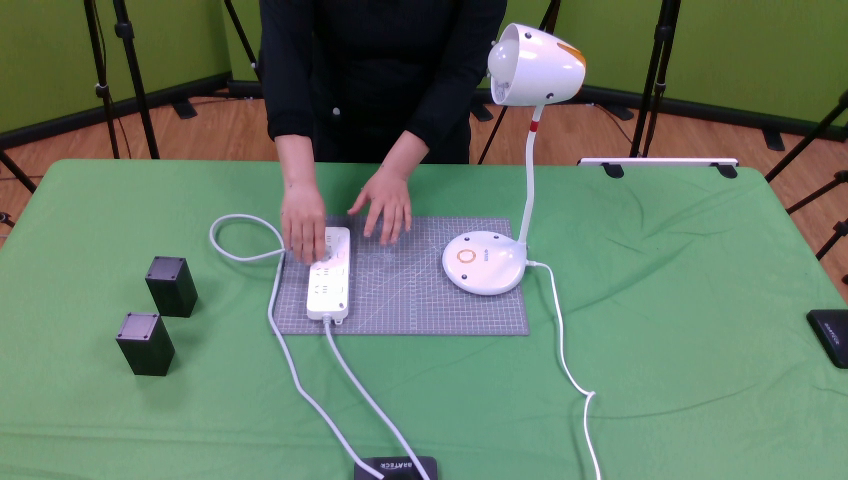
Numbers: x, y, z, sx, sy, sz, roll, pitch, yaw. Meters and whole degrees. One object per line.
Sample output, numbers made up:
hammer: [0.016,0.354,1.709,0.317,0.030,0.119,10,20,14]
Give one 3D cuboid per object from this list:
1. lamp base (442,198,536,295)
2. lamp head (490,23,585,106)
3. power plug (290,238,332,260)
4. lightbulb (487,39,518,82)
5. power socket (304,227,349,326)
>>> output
lamp base: [0.130,-0.012,1.105,0.179,0.181,0.159,-1,46,-9]
lamp head: [0.165,-0.241,0.872,0.123,0.113,0.111,9,43,-17]
power plug: [-0.206,0.018,1.121,0.072,0.053,0.035,12,44,3]
lightbulb: [0.143,-0.251,0.865,0.108,0.060,0.059,9,45,-7]
power socket: [-0.176,0.058,1.116,0.072,0.033,0.225,-1,46,-4]
